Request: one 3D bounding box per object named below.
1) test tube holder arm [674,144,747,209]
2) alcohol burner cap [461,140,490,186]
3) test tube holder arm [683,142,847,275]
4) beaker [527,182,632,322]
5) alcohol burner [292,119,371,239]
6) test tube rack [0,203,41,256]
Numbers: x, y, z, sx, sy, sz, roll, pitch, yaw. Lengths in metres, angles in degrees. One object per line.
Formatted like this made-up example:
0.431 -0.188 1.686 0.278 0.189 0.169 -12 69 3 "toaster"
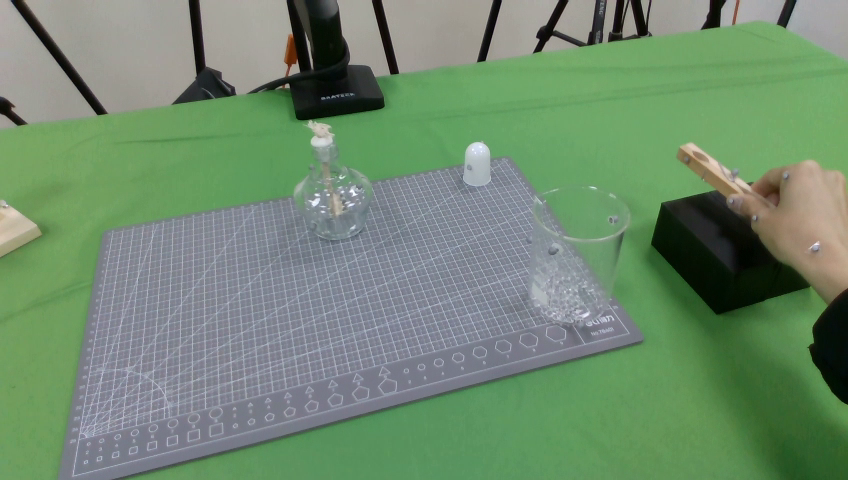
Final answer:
0.260 -0.059 0.549 0.010 0.015 0.087 -23 48 -13 "test tube holder arm"
0.057 -0.088 0.669 0.034 0.048 0.033 -1 40 1 "alcohol burner cap"
0.285 -0.033 0.521 0.013 0.015 0.176 -23 48 -14 "test tube holder arm"
0.121 0.012 0.504 0.074 0.101 0.083 -34 49 -31 "beaker"
-0.093 -0.061 0.588 0.078 0.120 0.077 -3 39 3 "alcohol burner"
-0.497 0.013 0.545 0.066 0.086 0.242 25 47 28 "test tube rack"
